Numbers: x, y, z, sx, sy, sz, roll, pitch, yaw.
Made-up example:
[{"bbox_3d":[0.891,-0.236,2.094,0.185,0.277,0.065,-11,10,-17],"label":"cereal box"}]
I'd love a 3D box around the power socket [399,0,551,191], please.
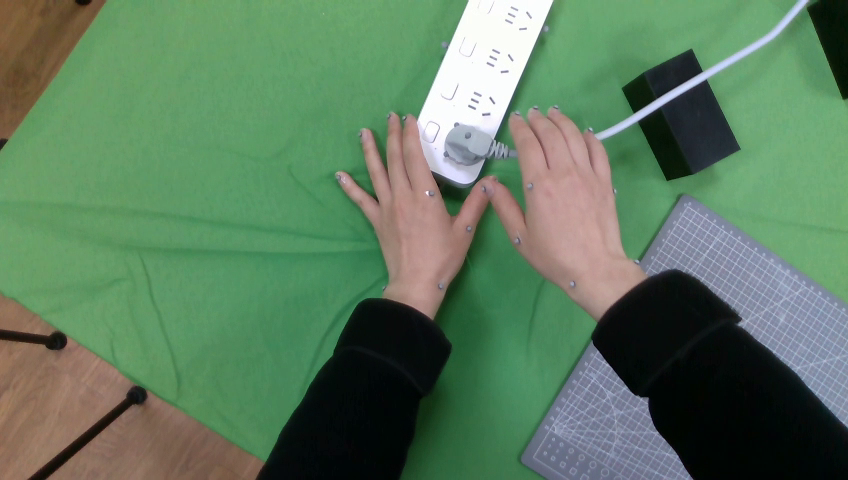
[{"bbox_3d":[0.048,-0.152,0.554,0.072,0.032,0.226,24,87,-5],"label":"power socket"}]

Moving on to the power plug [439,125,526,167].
[{"bbox_3d":[0.046,-0.072,0.532,0.072,0.052,0.035,35,87,-2],"label":"power plug"}]
